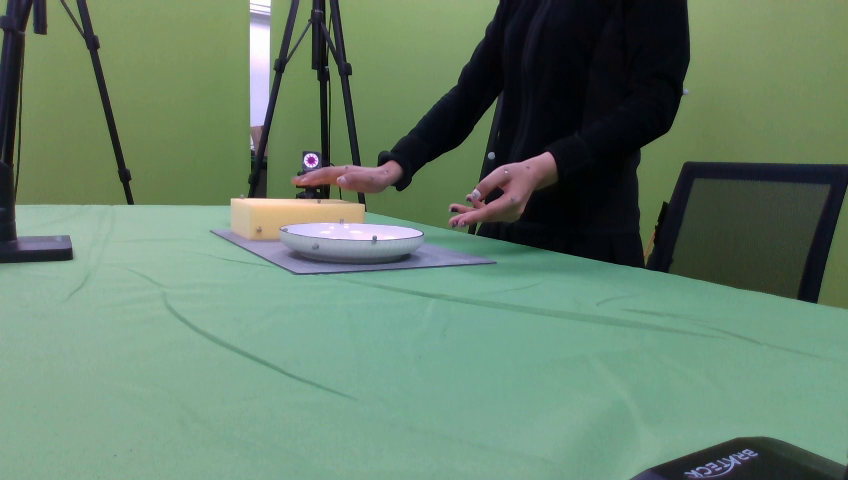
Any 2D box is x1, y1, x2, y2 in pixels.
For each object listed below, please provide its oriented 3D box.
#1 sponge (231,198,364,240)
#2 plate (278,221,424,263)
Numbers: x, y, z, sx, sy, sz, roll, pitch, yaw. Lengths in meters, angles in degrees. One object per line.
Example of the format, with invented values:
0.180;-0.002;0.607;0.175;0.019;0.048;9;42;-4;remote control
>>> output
-0.223;-0.040;1.070;0.208;0.061;0.117;-3;9;-33;sponge
-0.103;0.003;0.871;0.209;0.038;0.209;2;7;0;plate
